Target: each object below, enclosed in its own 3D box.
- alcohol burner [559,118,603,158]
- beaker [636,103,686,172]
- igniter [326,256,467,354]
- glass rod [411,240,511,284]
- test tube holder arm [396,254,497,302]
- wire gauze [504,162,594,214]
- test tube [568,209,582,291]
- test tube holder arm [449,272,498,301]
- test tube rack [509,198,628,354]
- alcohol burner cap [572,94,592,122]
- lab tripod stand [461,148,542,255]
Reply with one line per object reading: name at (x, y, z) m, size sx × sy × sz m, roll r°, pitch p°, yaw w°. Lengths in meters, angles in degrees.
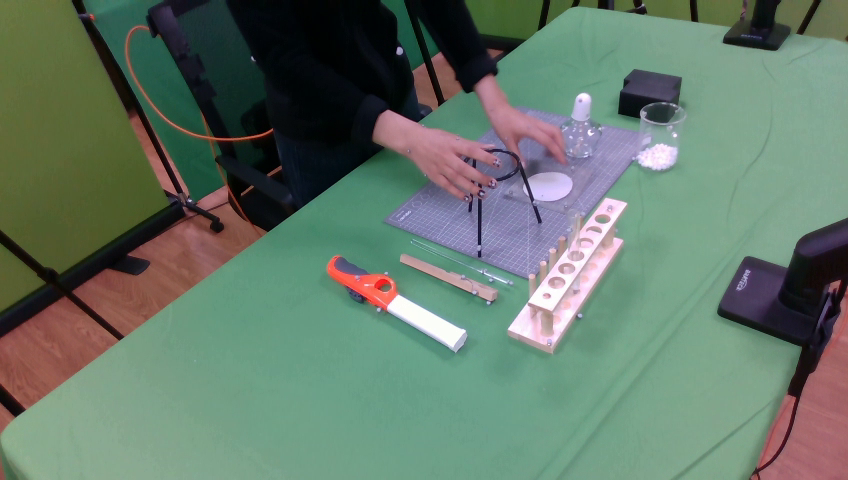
alcohol burner at (0.287, -0.212, 1.104) m, size 0.078 × 0.119 × 0.077 m, roll -4°, pitch 40°, yaw 4°
beaker at (0.413, -0.177, 1.055) m, size 0.084 × 0.101 × 0.073 m, roll -28°, pitch 44°, yaw -21°
igniter at (-0.051, 0.088, 0.886) m, size 0.274 × 0.025 × 0.057 m, roll 26°, pitch 62°, yaw 35°
glass rod at (0.053, 0.034, 0.947) m, size 0.198 × 0.008 × 0.008 m, roll 22°, pitch 50°, yaw 36°
test tube holder arm at (0.030, 0.054, 0.912) m, size 0.177 × 0.015 × 0.013 m, roll 21°, pitch 11°, yaw 29°
wire gauze at (0.220, -0.098, 1.065) m, size 0.124 × 0.011 × 0.122 m, roll 17°, pitch 47°, yaw 32°
test tube at (0.200, 0.017, 0.799) m, size 0.017 × 0.151 × 0.017 m, roll -8°, pitch 45°, yaw 8°
test tube holder arm at (0.070, 0.068, 0.894) m, size 0.087 × 0.015 × 0.010 m, roll 22°, pitch 11°, yaw 31°
test tube rack at (0.206, 0.039, 0.850) m, size 0.066 × 0.085 × 0.243 m, roll 20°, pitch 48°, yaw 31°
alcohol burner cap at (0.284, -0.238, 1.079) m, size 0.034 × 0.048 × 0.033 m, roll -1°, pitch 48°, yaw 2°
lab tripod stand at (0.114, -0.069, 0.953) m, size 0.148 × 0.132 × 0.147 m, roll -5°, pitch 38°, yaw 4°
